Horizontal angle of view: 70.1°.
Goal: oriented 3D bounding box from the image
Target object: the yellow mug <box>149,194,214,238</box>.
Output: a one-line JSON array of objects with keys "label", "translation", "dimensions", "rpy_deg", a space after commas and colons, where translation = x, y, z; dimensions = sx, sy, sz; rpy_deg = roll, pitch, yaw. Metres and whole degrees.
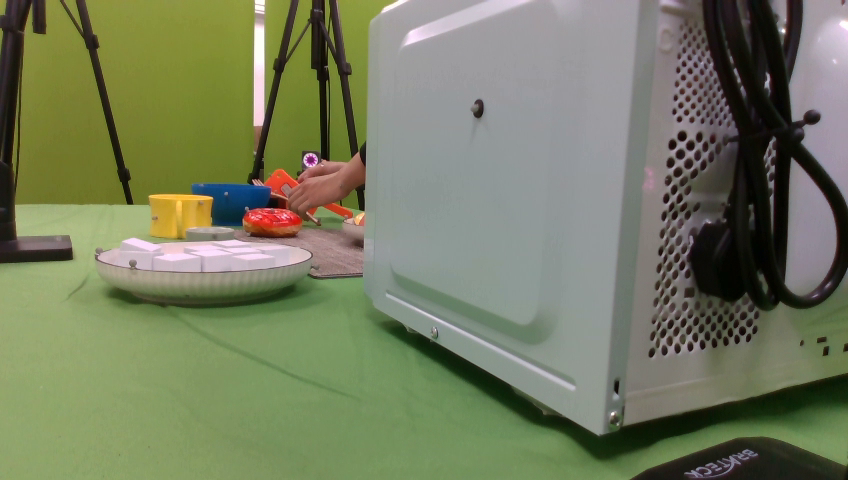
[{"label": "yellow mug", "translation": [-0.401, -0.039, 1.003], "dimensions": [0.100, 0.064, 0.130], "rpy_deg": [0, 9, -20]}]

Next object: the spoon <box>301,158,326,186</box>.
[{"label": "spoon", "translation": [-0.320, -0.160, 1.646], "dimensions": [0.041, 0.022, 0.194], "rpy_deg": [8, 53, 33]}]

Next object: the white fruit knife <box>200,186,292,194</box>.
[{"label": "white fruit knife", "translation": [-0.399, -0.111, 1.368], "dimensions": [0.208, 0.016, 0.027], "rpy_deg": [-4, -19, -30]}]

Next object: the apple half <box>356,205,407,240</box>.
[{"label": "apple half", "translation": [-0.065, -0.029, 0.970], "dimensions": [0.081, 0.053, 0.074], "rpy_deg": [3, 7, -26]}]

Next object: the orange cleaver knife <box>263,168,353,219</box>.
[{"label": "orange cleaver knife", "translation": [-0.262, -0.088, 1.353], "dimensions": [0.211, 0.077, 0.012], "rpy_deg": [28, 13, -1]}]

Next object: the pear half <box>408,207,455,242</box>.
[{"label": "pear half", "translation": [0.018, -0.026, 0.999], "dimensions": [0.076, 0.056, 0.110], "rpy_deg": [9, 6, 19]}]

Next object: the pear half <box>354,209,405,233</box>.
[{"label": "pear half", "translation": [-0.076, -0.035, 1.045], "dimensions": [0.088, 0.031, 0.070], "rpy_deg": [6, 27, -7]}]

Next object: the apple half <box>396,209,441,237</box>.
[{"label": "apple half", "translation": [-0.008, -0.036, 1.053], "dimensions": [0.081, 0.033, 0.081], "rpy_deg": [13, 26, -6]}]

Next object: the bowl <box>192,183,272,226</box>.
[{"label": "bowl", "translation": [-0.381, -0.071, 1.202], "dimensions": [0.151, 0.077, 0.151], "rpy_deg": [3, 7, 0]}]

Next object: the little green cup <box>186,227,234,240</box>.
[{"label": "little green cup", "translation": [-0.285, 0.005, 0.805], "dimensions": [0.061, 0.038, 0.061], "rpy_deg": [2, 8, 0]}]

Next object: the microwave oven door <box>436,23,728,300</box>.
[{"label": "microwave oven door", "translation": [0.180, -0.073, 0.621], "dimensions": [0.358, 0.243, 0.039], "rpy_deg": [-2, 9, -29]}]

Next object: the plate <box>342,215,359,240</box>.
[{"label": "plate", "translation": [-0.033, -0.014, 1.006], "dimensions": [0.209, 0.038, 0.209], "rpy_deg": [2, 8, 0]}]

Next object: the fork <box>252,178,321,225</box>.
[{"label": "fork", "translation": [-0.295, -0.084, 1.291], "dimensions": [0.206, 0.018, 0.028], "rpy_deg": [29, 6, 25]}]

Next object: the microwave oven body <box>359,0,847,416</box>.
[{"label": "microwave oven body", "translation": [0.211, -0.047, 0.474], "dimensions": [0.444, 0.260, 0.324], "rpy_deg": [-1, 7, -28]}]

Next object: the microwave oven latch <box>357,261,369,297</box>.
[{"label": "microwave oven latch", "translation": [-0.019, 0.033, 0.530], "dimensions": [0.079, 0.029, 0.030], "rpy_deg": [-1, 7, -26]}]

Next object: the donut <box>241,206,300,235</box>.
[{"label": "donut", "translation": [-0.263, -0.032, 1.039], "dimensions": [0.099, 0.048, 0.099], "rpy_deg": [4, 9, 0]}]

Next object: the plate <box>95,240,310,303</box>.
[{"label": "plate", "translation": [-0.224, 0.031, 0.629], "dimensions": [0.208, 0.039, 0.207], "rpy_deg": [2, 7, 0]}]
